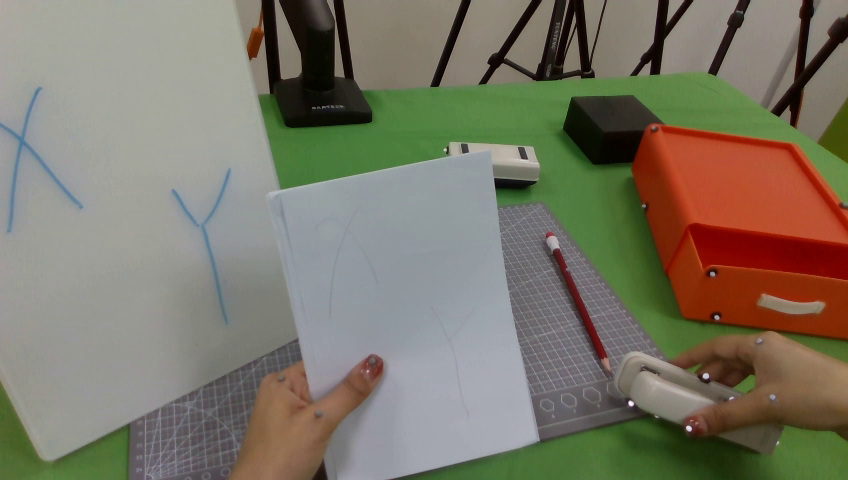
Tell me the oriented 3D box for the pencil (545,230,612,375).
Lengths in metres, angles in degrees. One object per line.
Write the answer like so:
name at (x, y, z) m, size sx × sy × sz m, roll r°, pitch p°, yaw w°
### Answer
pencil at (0.151, 0.055, 0.602) m, size 0.012 × 0.012 × 0.192 m, roll -1°, pitch 42°, yaw -10°

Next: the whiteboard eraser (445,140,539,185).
whiteboard eraser at (0.084, -0.096, 0.754) m, size 0.113 × 0.042 × 0.055 m, roll 3°, pitch 41°, yaw -6°

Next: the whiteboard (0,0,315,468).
whiteboard at (-0.238, -0.036, 0.459) m, size 0.217 × 0.307 × 0.142 m, roll -25°, pitch 30°, yaw -33°

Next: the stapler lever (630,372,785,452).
stapler lever at (0.218, 0.133, 0.466) m, size 0.118 × 0.027 × 0.040 m, roll 20°, pitch 9°, yaw 7°

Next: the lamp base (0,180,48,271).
lamp base at (-0.446, -0.071, 0.518) m, size 0.178 × 0.182 × 0.160 m, roll 18°, pitch 40°, yaw 16°

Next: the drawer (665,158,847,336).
drawer at (0.359, -0.002, 0.656) m, size 0.194 × 0.074 × 0.210 m, roll 7°, pitch 39°, yaw 0°

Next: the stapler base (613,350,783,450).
stapler base at (0.222, 0.131, 0.494) m, size 0.130 × 0.041 × 0.024 m, roll 20°, pitch 10°, yaw 10°

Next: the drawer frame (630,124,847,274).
drawer frame at (0.363, -0.042, 0.703) m, size 0.202 × 0.083 × 0.211 m, roll 7°, pitch 38°, yaw -1°
